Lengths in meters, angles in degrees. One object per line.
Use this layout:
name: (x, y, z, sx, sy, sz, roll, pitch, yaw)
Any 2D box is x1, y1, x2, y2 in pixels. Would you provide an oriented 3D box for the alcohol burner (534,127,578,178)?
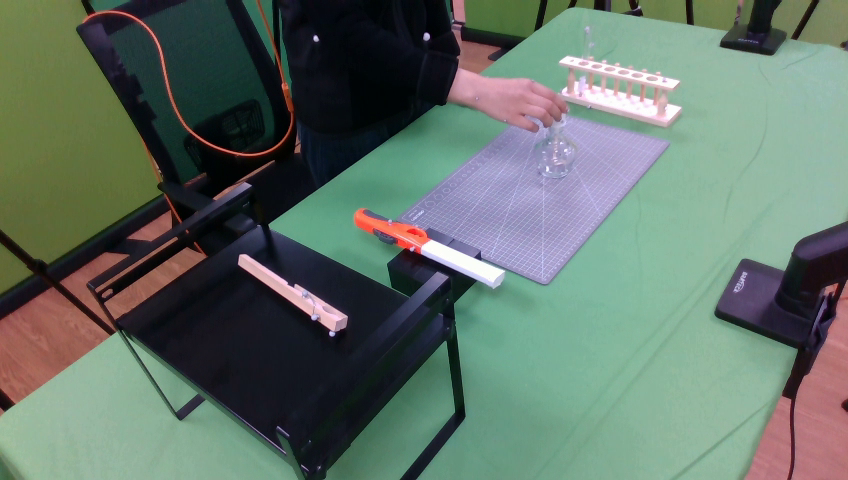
alcohol burner: (0.232, -0.170, 1.066, 0.078, 0.119, 0.077, -5, 38, 5)

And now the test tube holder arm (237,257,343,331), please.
test tube holder arm: (-0.150, 0.055, 0.657, 0.177, 0.015, 0.013, 24, 16, 34)

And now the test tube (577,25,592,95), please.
test tube: (0.325, -0.362, 1.227, 0.017, 0.151, 0.017, -3, 45, 4)

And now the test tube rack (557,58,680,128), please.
test tube rack: (0.395, -0.309, 1.231, 0.240, 0.085, 0.067, 25, 50, 33)

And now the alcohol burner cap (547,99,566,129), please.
alcohol burner cap: (0.225, -0.215, 1.021, 0.034, 0.048, 0.033, -4, 47, 5)

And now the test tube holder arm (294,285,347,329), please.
test tube holder arm: (-0.113, 0.070, 0.635, 0.087, 0.015, 0.010, 24, 16, 36)

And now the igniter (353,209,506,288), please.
igniter: (-0.003, 0.006, 0.892, 0.274, 0.025, 0.057, 24, 37, 31)
